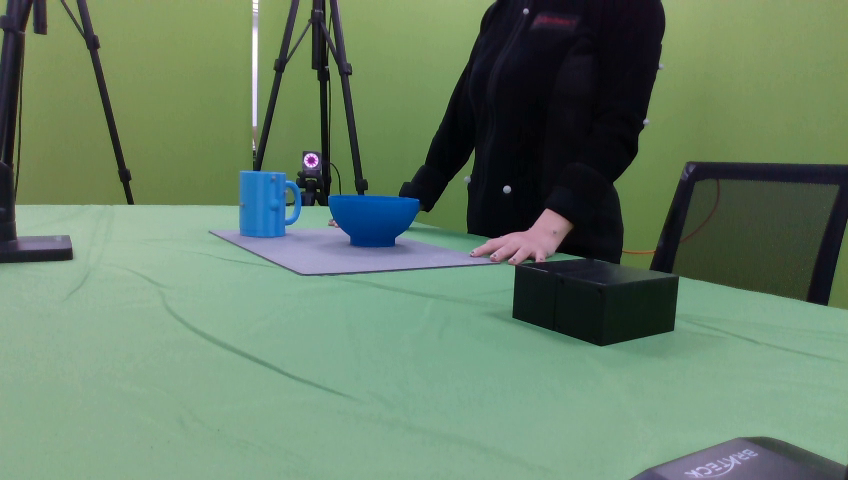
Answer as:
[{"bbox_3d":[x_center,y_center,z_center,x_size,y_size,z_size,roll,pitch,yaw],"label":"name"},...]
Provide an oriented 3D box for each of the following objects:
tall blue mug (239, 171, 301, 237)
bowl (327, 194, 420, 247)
[{"bbox_3d":[-0.273,-0.065,1.055,0.077,0.108,0.107,3,8,16],"label":"tall blue mug"},{"bbox_3d":[-0.083,-0.032,0.988,0.151,0.077,0.151,2,7,0],"label":"bowl"}]
